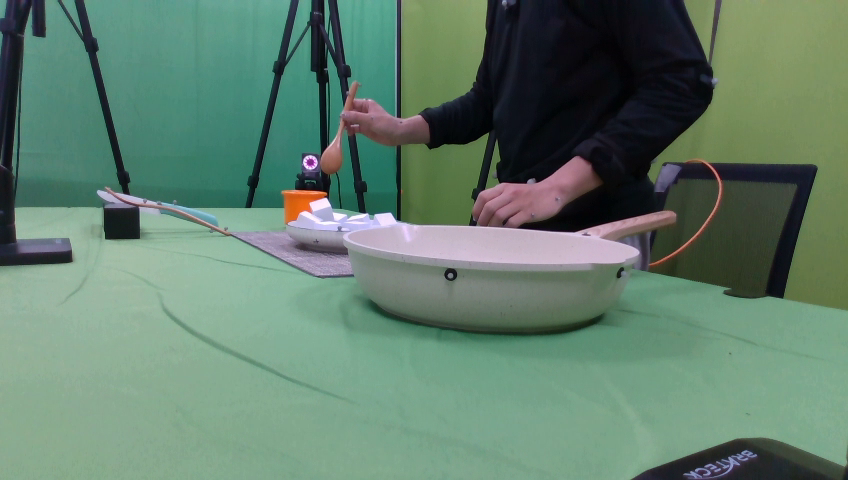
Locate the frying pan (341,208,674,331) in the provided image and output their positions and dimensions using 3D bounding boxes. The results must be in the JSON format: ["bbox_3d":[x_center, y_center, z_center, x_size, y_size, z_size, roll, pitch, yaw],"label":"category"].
[{"bbox_3d":[0.144,0.008,0.677,0.490,0.102,0.305,-13,16,-36],"label":"frying pan"}]

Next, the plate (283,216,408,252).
[{"bbox_3d":[-0.119,-0.010,0.968,0.208,0.039,0.207,3,7,0],"label":"plate"}]

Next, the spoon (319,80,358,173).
[{"bbox_3d":[-0.165,-0.225,1.191,0.042,0.193,0.021,16,-10,-9],"label":"spoon"}]

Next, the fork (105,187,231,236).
[{"bbox_3d":[-0.428,-0.046,1.021,0.208,0.018,0.028,19,-6,-26],"label":"fork"}]

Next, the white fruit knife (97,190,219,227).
[{"bbox_3d":[-0.468,-0.057,1.079,0.208,0.027,0.016,15,-1,-29],"label":"white fruit knife"}]
